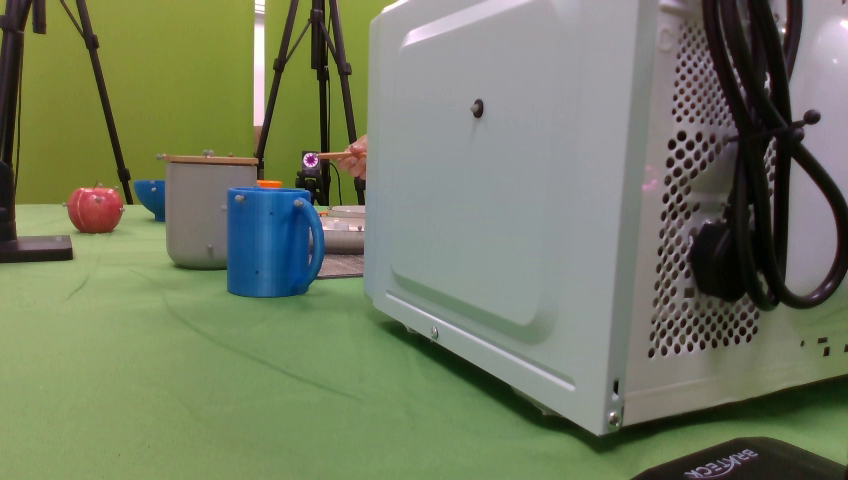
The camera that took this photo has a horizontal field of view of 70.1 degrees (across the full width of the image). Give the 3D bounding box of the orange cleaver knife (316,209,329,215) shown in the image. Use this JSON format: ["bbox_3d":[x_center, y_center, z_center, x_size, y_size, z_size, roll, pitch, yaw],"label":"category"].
[{"bbox_3d":[-0.259,-0.064,1.423,0.212,0.012,0.077,-4,3,-30],"label":"orange cleaver knife"}]

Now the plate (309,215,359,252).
[{"bbox_3d":[-0.130,-0.011,0.945,0.208,0.039,0.207,2,7,0],"label":"plate"}]

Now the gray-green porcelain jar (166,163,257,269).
[{"bbox_3d":[-0.263,-0.031,0.754,0.106,0.126,0.106,2,7,0],"label":"gray-green porcelain jar"}]

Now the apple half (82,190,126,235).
[{"bbox_3d":[-0.516,-0.046,0.994,0.032,0.081,0.081,0,6,26],"label":"apple half"}]

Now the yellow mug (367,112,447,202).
[{"bbox_3d":[-0.017,-0.125,0.869,0.064,0.130,0.100,45,29,20],"label":"yellow mug"}]

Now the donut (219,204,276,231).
[{"bbox_3d":[-0.316,-0.039,1.083,0.099,0.048,0.099,3,7,0],"label":"donut"}]

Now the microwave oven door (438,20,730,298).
[{"bbox_3d":[0.181,-0.076,0.618,0.358,0.243,0.039,-2,8,-28],"label":"microwave oven door"}]

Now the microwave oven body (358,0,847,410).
[{"bbox_3d":[0.210,-0.051,0.471,0.444,0.260,0.324,-1,7,-28],"label":"microwave oven body"}]

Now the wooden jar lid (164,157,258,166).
[{"bbox_3d":[-0.261,-0.093,0.746,0.108,0.020,0.108,0,9,0],"label":"wooden jar lid"}]

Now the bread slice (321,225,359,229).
[{"bbox_3d":[-0.124,-0.009,0.937,0.131,0.019,0.105,6,7,32],"label":"bread slice"}]

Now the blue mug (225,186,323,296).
[{"bbox_3d":[-0.148,0.000,0.618,0.116,0.106,0.083,7,9,33],"label":"blue mug"}]

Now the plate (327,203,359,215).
[{"bbox_3d":[-0.102,-0.053,1.299,0.209,0.038,0.209,2,8,0],"label":"plate"}]

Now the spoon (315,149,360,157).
[{"bbox_3d":[-0.087,-0.130,0.928,0.193,0.021,0.042,10,14,27],"label":"spoon"}]

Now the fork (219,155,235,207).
[{"bbox_3d":[-0.459,-0.134,1.415,0.028,0.018,0.207,-1,-34,-25],"label":"fork"}]

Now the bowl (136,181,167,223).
[{"bbox_3d":[-0.497,-0.076,1.221,0.151,0.077,0.151,2,8,0],"label":"bowl"}]

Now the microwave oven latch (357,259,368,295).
[{"bbox_3d":[-0.019,0.031,0.529,0.079,0.029,0.030,-1,7,-26],"label":"microwave oven latch"}]

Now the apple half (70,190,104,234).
[{"bbox_3d":[-0.552,-0.048,1.010,0.053,0.074,0.081,-1,10,26],"label":"apple half"}]

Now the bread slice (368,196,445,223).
[{"bbox_3d":[-0.040,-0.057,1.142,0.107,0.018,0.133,-8,-8,-39],"label":"bread slice"}]
